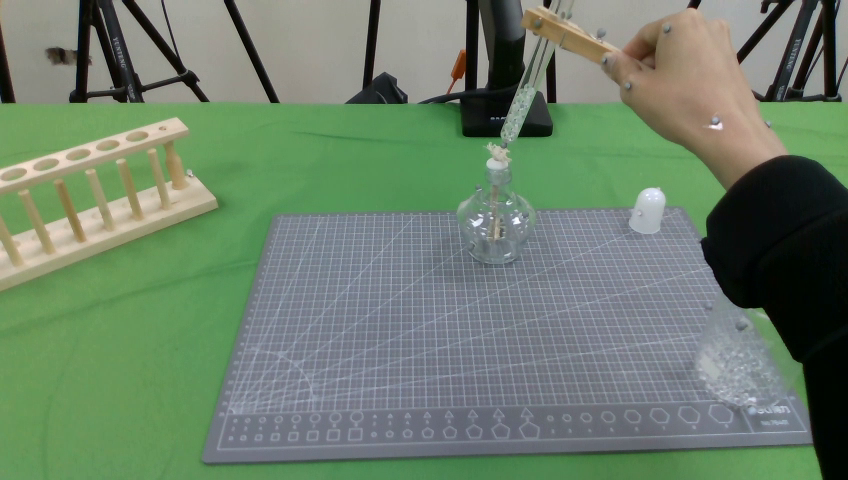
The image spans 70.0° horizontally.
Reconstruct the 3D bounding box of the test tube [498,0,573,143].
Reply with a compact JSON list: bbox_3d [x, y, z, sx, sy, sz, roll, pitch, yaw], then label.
[{"bbox_3d":[0.088,-0.139,0.473,0.017,0.151,0.017,11,42,-9],"label":"test tube"}]

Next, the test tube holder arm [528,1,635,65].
[{"bbox_3d":[0.119,-0.154,0.452,0.088,0.010,0.015,26,38,3],"label":"test tube holder arm"}]

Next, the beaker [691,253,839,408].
[{"bbox_3d":[0.246,0.070,0.456,0.074,0.101,0.083,-20,42,-23],"label":"beaker"}]

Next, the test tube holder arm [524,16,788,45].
[{"bbox_3d":[0.162,-0.151,0.438,0.178,0.013,0.015,2,31,20],"label":"test tube holder arm"}]

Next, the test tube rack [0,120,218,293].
[{"bbox_3d":[-0.344,-0.035,0.607,0.242,0.086,0.066,-26,46,-29],"label":"test tube rack"}]

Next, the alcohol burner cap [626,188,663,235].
[{"bbox_3d":[0.231,-0.033,0.631,0.034,0.048,0.033,0,39,0],"label":"alcohol burner cap"}]

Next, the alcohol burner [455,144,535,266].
[{"bbox_3d":[0.068,-0.036,0.578,0.078,0.120,0.077,-1,37,1],"label":"alcohol burner"}]
